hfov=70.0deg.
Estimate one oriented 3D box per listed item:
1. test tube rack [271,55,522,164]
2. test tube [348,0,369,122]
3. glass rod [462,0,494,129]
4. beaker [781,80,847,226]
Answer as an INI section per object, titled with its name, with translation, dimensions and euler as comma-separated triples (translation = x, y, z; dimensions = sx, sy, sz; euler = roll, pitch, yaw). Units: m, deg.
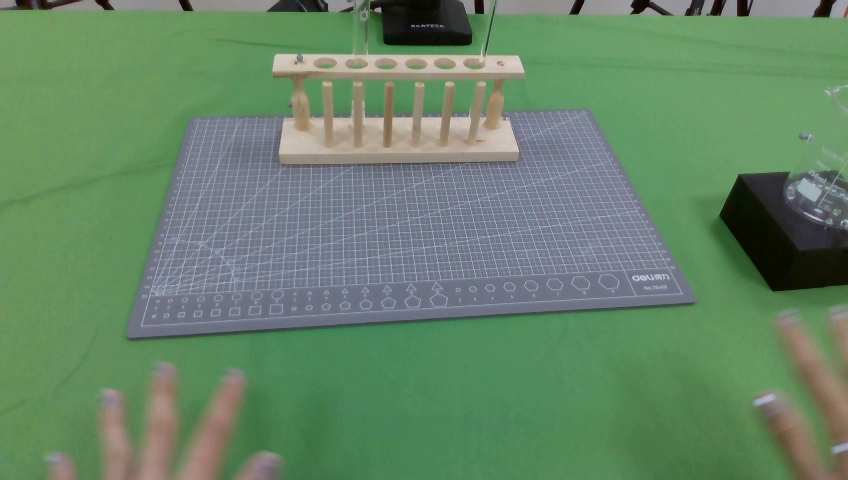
[test tube rack]
translation = -0.026, -0.132, 0.611
dimensions = 0.243, 0.086, 0.066
euler = -2, 44, -6
[test tube]
translation = -0.063, -0.179, 0.586
dimensions = 0.017, 0.151, 0.017
euler = 5, 42, -4
[glass rod]
translation = 0.055, -0.190, 0.580
dimensions = 0.008, 0.201, 0.008
euler = 5, 46, -5
[beaker]
translation = 0.344, -0.069, 0.493
dimensions = 0.074, 0.101, 0.083
euler = -26, 51, -27
